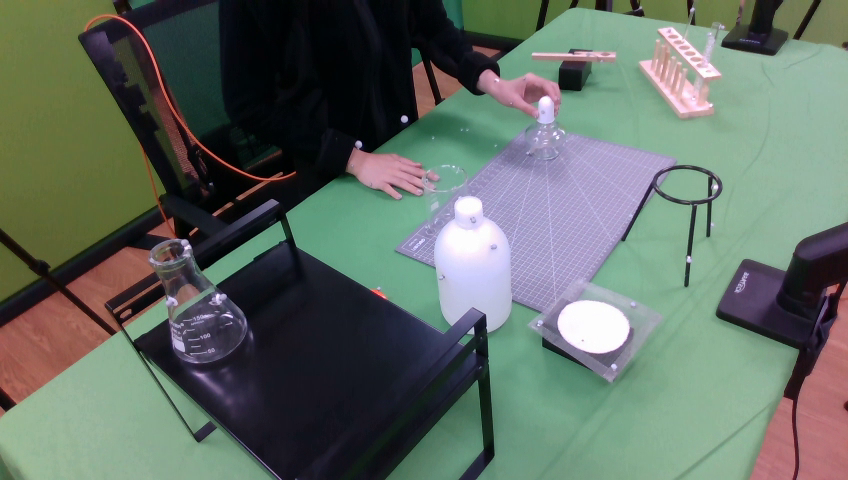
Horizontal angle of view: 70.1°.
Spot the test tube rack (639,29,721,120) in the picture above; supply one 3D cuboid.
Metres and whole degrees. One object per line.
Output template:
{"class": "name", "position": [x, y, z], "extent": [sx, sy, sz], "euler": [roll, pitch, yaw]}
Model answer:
{"class": "test tube rack", "position": [0.527, -0.351, 1.262], "extent": [0.067, 0.085, 0.241], "euler": [-8, 40, 1]}

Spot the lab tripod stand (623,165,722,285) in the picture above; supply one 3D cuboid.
{"class": "lab tripod stand", "position": [0.365, -0.030, 0.874], "extent": [0.148, 0.132, 0.147], "euler": [-6, 41, 6]}

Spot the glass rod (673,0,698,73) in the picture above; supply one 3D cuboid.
{"class": "glass rod", "position": [0.537, -0.425, 1.244], "extent": [0.008, 0.200, 0.008], "euler": [0, 48, 0]}

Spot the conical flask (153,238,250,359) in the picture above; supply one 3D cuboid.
{"class": "conical flask", "position": [-0.225, 0.055, 0.597], "extent": [0.075, 0.122, 0.075], "euler": [-5, 41, 4]}

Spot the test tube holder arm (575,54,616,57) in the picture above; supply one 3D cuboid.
{"class": "test tube holder arm", "position": [0.373, -0.398, 1.318], "extent": [0.087, 0.015, 0.010], "euler": [5, 51, 16]}

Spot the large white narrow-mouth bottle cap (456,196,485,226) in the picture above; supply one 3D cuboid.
{"class": "large white narrow-mouth bottle cap", "position": [0.057, -0.036, 0.749], "extent": [0.038, 0.024, 0.037], "euler": [-4, 40, 4]}

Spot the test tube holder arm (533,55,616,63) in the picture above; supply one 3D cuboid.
{"class": "test tube holder arm", "position": [0.329, -0.398, 1.327], "extent": [0.178, 0.015, 0.013], "euler": [5, 51, 15]}

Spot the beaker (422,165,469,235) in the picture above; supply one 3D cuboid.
{"class": "beaker", "position": [0.041, -0.063, 0.986], "extent": [0.073, 0.101, 0.084], "euler": [20, 47, 29]}

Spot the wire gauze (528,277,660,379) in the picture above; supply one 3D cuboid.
{"class": "wire gauze", "position": [0.213, 0.103, 0.763], "extent": [0.124, 0.011, 0.122], "euler": [30, 52, 35]}

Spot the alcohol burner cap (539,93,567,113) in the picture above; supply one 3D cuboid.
{"class": "alcohol burner cap", "position": [0.230, -0.244, 1.088], "extent": [0.048, 0.034, 0.033], "euler": [-11, 40, 0]}

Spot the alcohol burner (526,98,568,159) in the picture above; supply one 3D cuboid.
{"class": "alcohol burner", "position": [0.228, -0.210, 1.118], "extent": [0.078, 0.119, 0.077], "euler": [-5, 43, 5]}

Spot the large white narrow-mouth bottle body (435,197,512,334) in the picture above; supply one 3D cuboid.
{"class": "large white narrow-mouth bottle body", "position": [0.066, 0.029, 0.805], "extent": [0.102, 0.195, 0.101], "euler": [-4, 40, 4]}

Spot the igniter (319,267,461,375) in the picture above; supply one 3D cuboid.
{"class": "igniter", "position": [-0.060, 0.108, 0.862], "extent": [0.274, 0.025, 0.057], "euler": [28, 62, 34]}

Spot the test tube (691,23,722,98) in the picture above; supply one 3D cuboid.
{"class": "test tube", "position": [0.547, -0.345, 1.173], "extent": [0.017, 0.151, 0.017], "euler": [0, 42, 0]}
